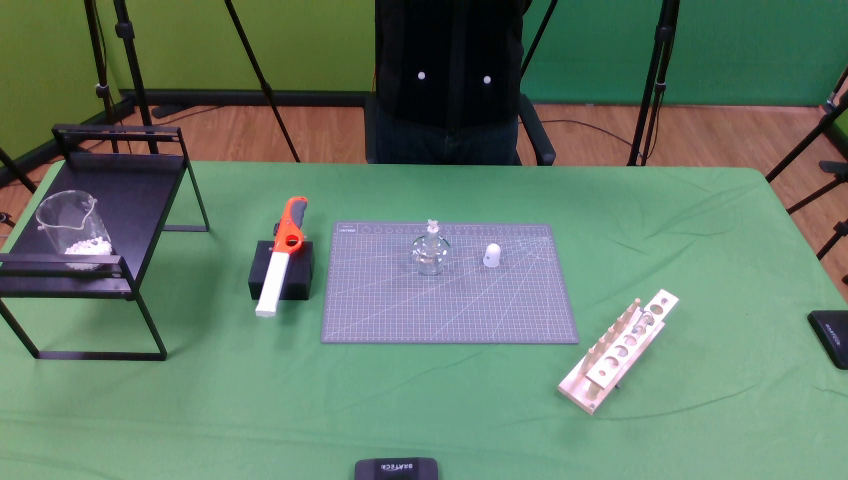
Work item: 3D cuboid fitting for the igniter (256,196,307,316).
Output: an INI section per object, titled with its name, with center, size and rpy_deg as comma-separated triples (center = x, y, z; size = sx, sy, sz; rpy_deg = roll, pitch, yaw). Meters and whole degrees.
[igniter]
center = -0.254, 0.019, 1.090
size = 0.057, 0.025, 0.275
rpy_deg = 6, 48, -2

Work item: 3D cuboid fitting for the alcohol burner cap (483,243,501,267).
[alcohol burner cap]
center = 0.132, 0.025, 1.161
size = 0.034, 0.048, 0.033
rpy_deg = 3, 47, -3

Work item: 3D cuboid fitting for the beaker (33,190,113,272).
[beaker]
center = -0.493, -0.009, 0.865
size = 0.083, 0.101, 0.074
rpy_deg = 37, 55, 27

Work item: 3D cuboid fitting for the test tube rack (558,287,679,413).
[test tube rack]
center = 0.326, 0.170, 1.009
size = 0.066, 0.085, 0.242
rpy_deg = 36, 54, 27

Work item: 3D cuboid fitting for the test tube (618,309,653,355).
[test tube]
center = 0.329, 0.155, 0.956
size = 0.017, 0.151, 0.017
rpy_deg = 2, 51, -2

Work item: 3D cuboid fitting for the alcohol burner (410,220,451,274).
[alcohol burner]
center = 0.013, 0.007, 1.120
size = 0.078, 0.120, 0.077
rpy_deg = 1, 48, -1
